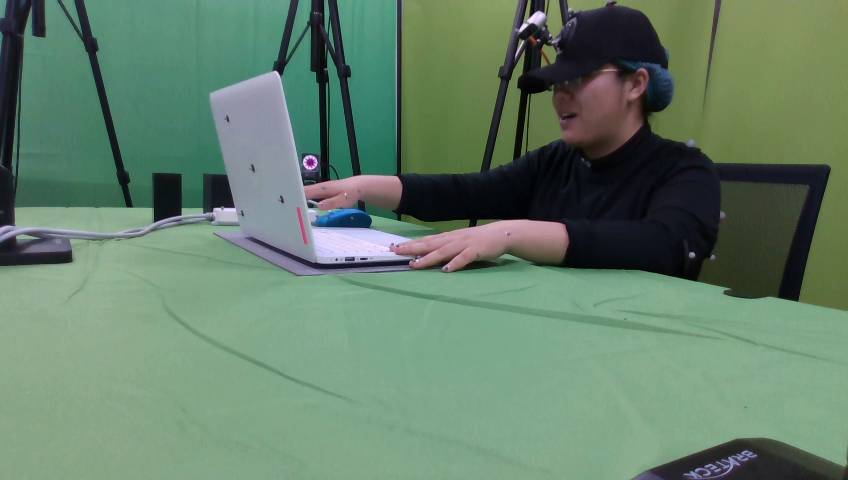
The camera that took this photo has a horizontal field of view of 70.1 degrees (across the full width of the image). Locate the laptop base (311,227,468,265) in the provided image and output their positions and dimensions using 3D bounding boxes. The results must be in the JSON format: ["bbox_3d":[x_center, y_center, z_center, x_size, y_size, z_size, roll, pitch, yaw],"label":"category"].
[{"bbox_3d":[-0.123,0.007,0.952,0.237,0.023,0.352,2,6,-32],"label":"laptop base"}]

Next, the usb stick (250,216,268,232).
[{"bbox_3d":[-0.290,-0.028,1.070,0.021,0.027,0.059,-3,11,-30],"label":"usb stick"}]

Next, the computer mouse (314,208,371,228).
[{"bbox_3d":[-0.173,-0.047,1.285,0.118,0.041,0.062,-7,12,-30],"label":"computer mouse"}]

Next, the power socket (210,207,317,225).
[{"bbox_3d":[-0.334,-0.051,1.281,0.228,0.032,0.072,-1,8,-28],"label":"power socket"}]

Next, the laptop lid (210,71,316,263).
[{"bbox_3d":[-0.240,-0.104,0.861,0.013,0.241,0.355,-16,17,-29],"label":"laptop lid"}]

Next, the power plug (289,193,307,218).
[{"bbox_3d":[-0.281,-0.076,1.340,0.035,0.052,0.072,3,6,-17],"label":"power plug"}]
